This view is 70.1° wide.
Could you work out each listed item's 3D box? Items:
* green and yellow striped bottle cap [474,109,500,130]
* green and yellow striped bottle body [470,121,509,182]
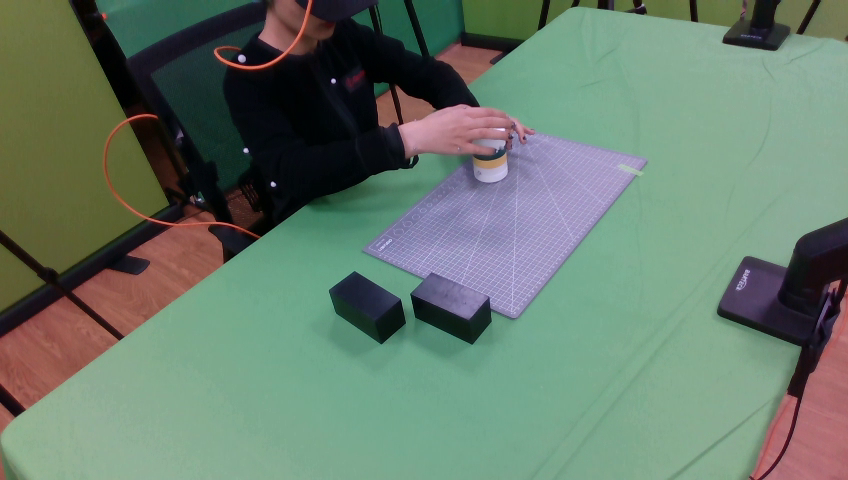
[{"bbox_3d":[0.108,-0.208,1.043,0.045,0.020,0.045,-6,38,5],"label":"green and yellow striped bottle cap"},{"bbox_3d":[0.117,-0.168,1.078,0.063,0.120,0.063,-6,40,5],"label":"green and yellow striped bottle body"}]
